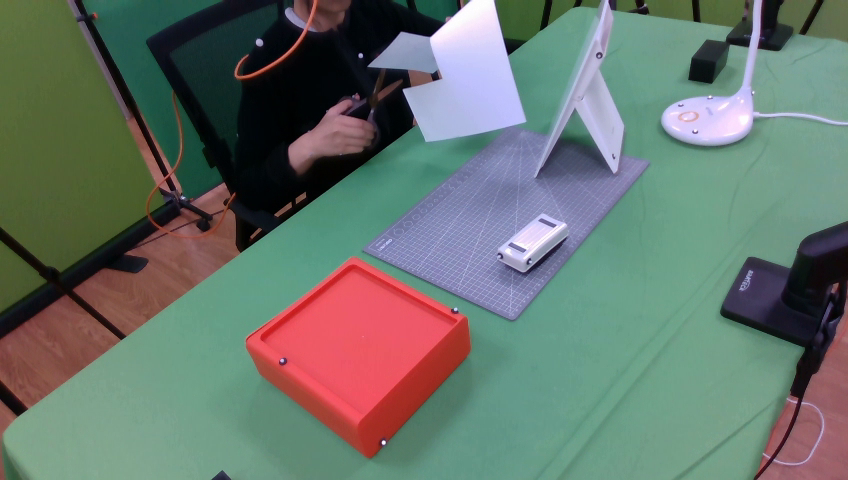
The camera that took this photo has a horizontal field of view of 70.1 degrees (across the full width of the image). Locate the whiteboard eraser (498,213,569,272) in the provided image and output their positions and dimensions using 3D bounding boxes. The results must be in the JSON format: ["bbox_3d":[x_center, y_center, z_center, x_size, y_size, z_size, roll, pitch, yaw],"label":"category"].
[{"bbox_3d":[0.168,0.006,0.923,0.113,0.042,0.055,-36,48,-28],"label":"whiteboard eraser"}]

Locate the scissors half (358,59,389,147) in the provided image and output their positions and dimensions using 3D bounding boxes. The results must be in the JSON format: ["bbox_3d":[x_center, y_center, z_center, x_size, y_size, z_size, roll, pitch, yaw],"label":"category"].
[{"bbox_3d":[-0.091,-0.259,1.156,0.040,0.175,0.013,22,25,14],"label":"scissors half"}]

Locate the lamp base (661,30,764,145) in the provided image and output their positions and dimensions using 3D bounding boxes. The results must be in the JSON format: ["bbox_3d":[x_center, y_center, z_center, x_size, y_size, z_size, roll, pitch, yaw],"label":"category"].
[{"bbox_3d":[0.535,-0.287,1.096,0.179,0.181,0.159,-10,40,-4],"label":"lamp base"}]

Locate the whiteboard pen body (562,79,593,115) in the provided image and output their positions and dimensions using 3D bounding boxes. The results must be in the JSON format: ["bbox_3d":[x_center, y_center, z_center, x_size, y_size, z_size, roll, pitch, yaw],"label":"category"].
[{"bbox_3d":[0.328,-0.306,1.278,0.017,0.017,0.141,20,52,30],"label":"whiteboard pen body"}]

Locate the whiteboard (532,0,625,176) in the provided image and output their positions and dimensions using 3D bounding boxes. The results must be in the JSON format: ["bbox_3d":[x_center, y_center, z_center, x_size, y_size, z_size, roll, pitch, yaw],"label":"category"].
[{"bbox_3d":[0.320,-0.259,1.050,0.144,0.306,0.217,21,45,5],"label":"whiteboard"}]

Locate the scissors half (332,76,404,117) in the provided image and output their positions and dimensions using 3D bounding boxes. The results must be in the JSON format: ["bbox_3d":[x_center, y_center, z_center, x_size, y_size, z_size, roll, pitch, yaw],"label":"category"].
[{"bbox_3d":[-0.109,-0.279,1.158,0.174,0.040,0.013,-15,8,29],"label":"scissors half"}]

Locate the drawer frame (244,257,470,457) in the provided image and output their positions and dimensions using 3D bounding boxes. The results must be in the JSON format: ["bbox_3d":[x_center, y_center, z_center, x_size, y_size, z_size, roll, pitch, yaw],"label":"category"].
[{"bbox_3d":[-0.084,0.138,0.788,0.212,0.083,0.202,25,50,33],"label":"drawer frame"}]

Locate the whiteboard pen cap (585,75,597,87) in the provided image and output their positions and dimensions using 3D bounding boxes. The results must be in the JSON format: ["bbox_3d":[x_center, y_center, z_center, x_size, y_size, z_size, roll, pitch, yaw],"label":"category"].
[{"bbox_3d":[0.362,-0.343,1.310,0.018,0.018,0.033,20,54,30],"label":"whiteboard pen cap"}]

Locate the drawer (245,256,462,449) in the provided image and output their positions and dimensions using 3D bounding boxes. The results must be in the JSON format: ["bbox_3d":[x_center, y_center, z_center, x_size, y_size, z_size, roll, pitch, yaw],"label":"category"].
[{"bbox_3d":[-0.089,0.136,0.792,0.210,0.073,0.195,27,51,34],"label":"drawer"}]
